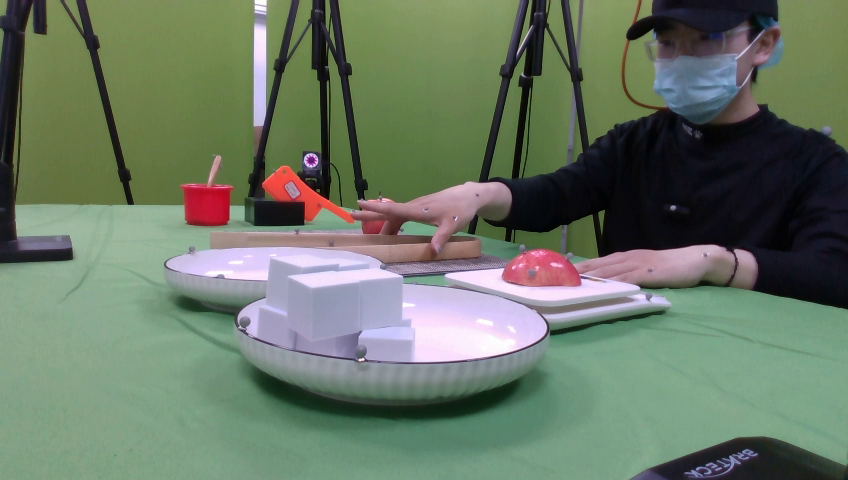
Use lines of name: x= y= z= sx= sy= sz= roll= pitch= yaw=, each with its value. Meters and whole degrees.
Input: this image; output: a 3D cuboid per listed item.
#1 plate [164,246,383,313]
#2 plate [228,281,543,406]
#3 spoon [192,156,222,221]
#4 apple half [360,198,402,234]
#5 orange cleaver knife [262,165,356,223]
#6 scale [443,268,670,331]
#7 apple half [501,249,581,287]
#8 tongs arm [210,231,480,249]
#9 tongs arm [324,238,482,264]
plate: x=-0.145 y=0.038 z=0.600 sx=0.209 sy=0.038 sz=0.209 roll=2 pitch=7 yaw=0
plate: x=-0.025 y=0.067 z=0.413 sx=0.208 sy=0.039 sz=0.207 roll=3 pitch=7 yaw=0
spoon: x=-0.430 y=-0.108 z=1.222 sx=0.041 sy=0.021 sz=0.193 roll=-1 pitch=52 yaw=0
apple half: x=-0.066 y=-0.033 z=1.014 sx=0.053 sy=0.074 sz=0.081 roll=9 pitch=6 yaw=21
orange cleaver knife: x=-0.243 y=-0.081 z=1.292 sx=0.212 sy=0.077 sz=0.012 roll=34 pitch=-8 yaw=-26
scale: x=0.131 y=0.052 z=0.603 sx=0.202 sy=0.031 sz=0.148 roll=-2 pitch=9 yaw=-37
apple half: x=0.111 y=0.024 z=0.585 sx=0.081 sy=0.033 sz=0.081 roll=2 pitch=8 yaw=0
tongs arm: x=-0.105 y=0.005 z=0.873 sx=0.386 sy=0.026 sz=0.050 roll=0 pitch=7 yaw=-19
tongs arm: x=-0.072 y=0.018 z=0.796 sx=0.390 sy=0.028 sz=0.028 roll=-2 pitch=5 yaw=-33
